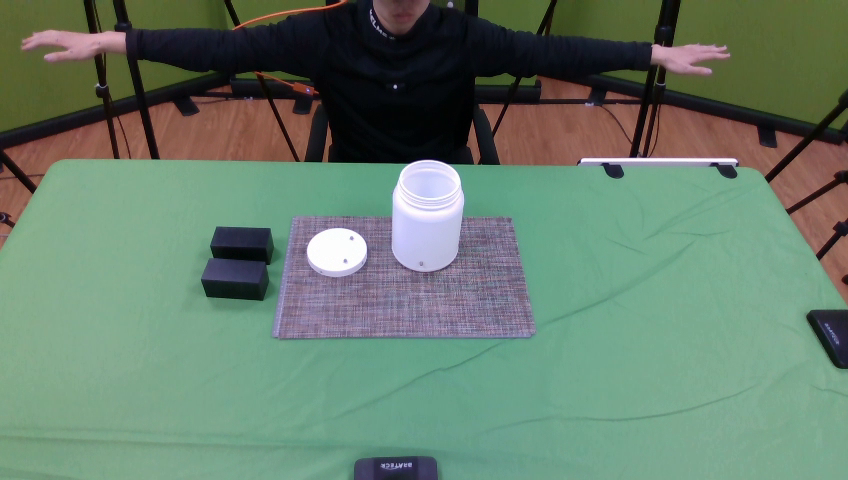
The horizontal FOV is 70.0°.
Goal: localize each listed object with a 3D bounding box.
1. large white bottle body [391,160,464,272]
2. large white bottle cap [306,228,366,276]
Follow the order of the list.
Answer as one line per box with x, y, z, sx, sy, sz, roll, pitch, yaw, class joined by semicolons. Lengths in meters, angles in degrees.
0.005;-0.045;1.124;0.131;0.185;0.130;2;47;-2;large white bottle body
-0.168;0.022;1.162;0.115;0.018;0.114;2;46;-2;large white bottle cap
